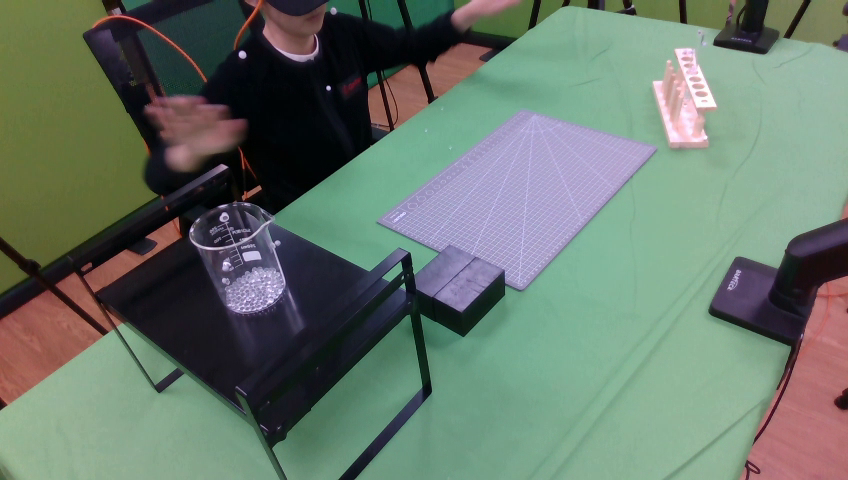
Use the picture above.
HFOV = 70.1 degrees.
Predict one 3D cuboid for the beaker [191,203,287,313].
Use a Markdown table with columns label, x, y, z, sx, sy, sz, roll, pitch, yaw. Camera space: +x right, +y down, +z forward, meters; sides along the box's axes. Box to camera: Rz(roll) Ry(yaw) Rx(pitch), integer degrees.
| label | x | y | z | sx | sy | sz | roll | pitch | yaw |
| --- | --- | --- | --- | --- | --- | --- | --- | --- | --- |
| beaker | -0.189 | 0.021 | 0.642 | 0.084 | 0.101 | 0.073 | -16 | 41 | -11 |

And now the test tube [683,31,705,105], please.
| label | x | y | z | sx | sy | sz | roll | pitch | yaw |
| --- | --- | --- | --- | --- | --- | --- | --- | --- | --- |
| test tube | 0.512 | -0.324 | 1.149 | 0.017 | 0.151 | 0.017 | -5 | 44 | 5 |

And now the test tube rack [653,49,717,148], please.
| label | x | y | z | sx | sy | sz | roll | pitch | yaw |
| --- | --- | --- | --- | --- | --- | --- | --- | --- | --- |
| test tube rack | 0.502 | -0.281 | 1.177 | 0.066 | 0.085 | 0.241 | 1 | 41 | 10 |
